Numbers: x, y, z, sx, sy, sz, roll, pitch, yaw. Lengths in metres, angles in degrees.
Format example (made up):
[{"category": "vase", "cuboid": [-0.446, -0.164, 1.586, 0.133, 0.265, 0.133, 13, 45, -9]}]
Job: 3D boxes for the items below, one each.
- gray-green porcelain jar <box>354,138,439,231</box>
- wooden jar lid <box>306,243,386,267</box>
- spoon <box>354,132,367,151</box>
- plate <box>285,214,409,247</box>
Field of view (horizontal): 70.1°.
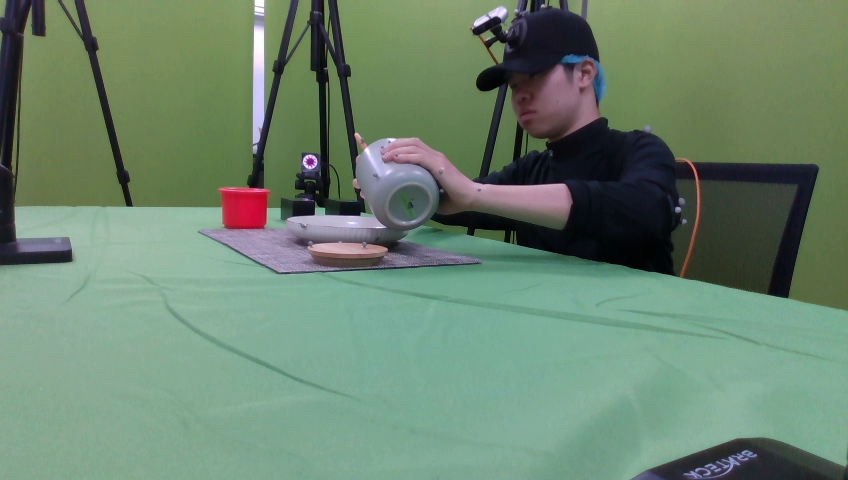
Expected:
[{"category": "gray-green porcelain jar", "cuboid": [-0.041, -0.081, 0.909, 0.106, 0.106, 0.126, 0, 30, -20]}, {"category": "wooden jar lid", "cuboid": [-0.105, 0.020, 0.817, 0.108, 0.020, 0.108, 1, 7, 0]}, {"category": "spoon", "cuboid": [-0.067, -0.115, 0.961, 0.042, 0.021, 0.193, 15, 27, -52]}, {"category": "plate", "cuboid": [-0.127, -0.015, 1.012, 0.208, 0.039, 0.207, 3, 7, 0]}]
